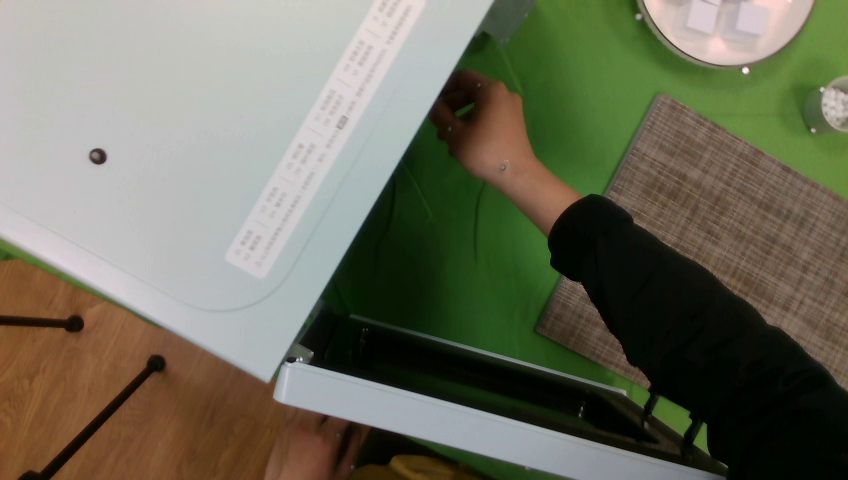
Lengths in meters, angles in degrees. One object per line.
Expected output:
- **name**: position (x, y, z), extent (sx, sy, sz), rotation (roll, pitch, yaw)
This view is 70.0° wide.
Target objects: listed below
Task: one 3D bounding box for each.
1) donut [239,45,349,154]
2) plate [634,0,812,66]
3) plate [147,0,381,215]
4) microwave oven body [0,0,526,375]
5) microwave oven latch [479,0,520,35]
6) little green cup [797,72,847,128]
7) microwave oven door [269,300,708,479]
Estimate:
- **donut**: position (-0.118, -0.128, 0.556), extent (0.099, 0.048, 0.099), rotation (0, 95, -4)
- **plate**: position (0.321, -0.293, 0.661), extent (0.208, 0.039, 0.207), rotation (0, 93, -5)
- **plate**: position (-0.145, -0.127, 0.565), extent (0.209, 0.038, 0.209), rotation (0, 93, -6)
- **microwave oven body**: position (-0.122, -0.170, 0.511), extent (0.327, 0.259, 0.441), rotation (30, 91, -7)
- **microwave oven latch**: position (0.087, -0.253, 0.622), extent (0.030, 0.029, 0.079), rotation (34, 90, -7)
- **little green cup**: position (0.456, -0.155, 0.681), extent (0.061, 0.038, 0.061), rotation (0, 92, -5)
- **microwave oven door**: position (0.057, 0.136, 0.542), extent (0.356, 0.243, 0.039), rotation (17, 91, -6)
